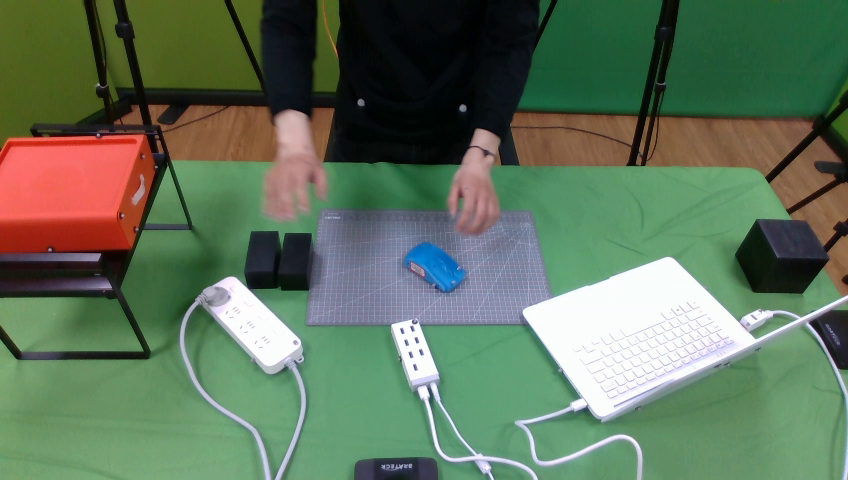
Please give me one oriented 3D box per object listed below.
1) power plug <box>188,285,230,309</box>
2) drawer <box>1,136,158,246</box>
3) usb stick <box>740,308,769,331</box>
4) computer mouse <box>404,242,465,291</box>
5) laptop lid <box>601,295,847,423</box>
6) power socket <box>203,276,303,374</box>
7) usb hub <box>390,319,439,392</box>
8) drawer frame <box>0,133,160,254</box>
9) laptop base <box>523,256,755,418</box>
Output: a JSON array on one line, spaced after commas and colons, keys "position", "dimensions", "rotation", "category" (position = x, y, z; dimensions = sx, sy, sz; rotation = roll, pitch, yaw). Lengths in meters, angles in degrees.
[{"position": [-0.370, 0.103, 1.039], "dimensions": [0.072, 0.053, 0.035], "rotation": [-26, 53, -23], "category": "power plug"}, {"position": [-0.545, -0.076, 0.941], "dimensions": [0.212, 0.073, 0.193], "rotation": [-3, 47, -6], "category": "drawer"}, {"position": [0.587, 0.145, 1.088], "dimensions": [0.059, 0.027, 0.021], "rotation": [-21, 48, -17], "category": "usb stick"}, {"position": [0.020, 0.046, 1.142], "dimensions": [0.116, 0.041, 0.063], "rotation": [35, 52, 22], "category": "computer mouse"}, {"position": [0.449, 0.179, 0.905], "dimensions": [0.357, 0.242, 0.013], "rotation": [-17, 64, -20], "category": "laptop lid"}, {"position": [-0.296, 0.141, 1.034], "dimensions": [0.072, 0.033, 0.225], "rotation": [-35, 58, -31], "category": "power socket"}, {"position": [-0.016, 0.190, 1.013], "dimensions": [0.049, 0.025, 0.124], "rotation": [-11, 48, -15], "category": "usb hub"}, {"position": [-0.547, -0.075, 0.939], "dimensions": [0.214, 0.083, 0.200], "rotation": [-3, 47, -6], "category": "drawer frame"}, {"position": [0.381, 0.159, 1.077], "dimensions": [0.355, 0.023, 0.234], "rotation": [-17, 47, -19], "category": "laptop base"}]
